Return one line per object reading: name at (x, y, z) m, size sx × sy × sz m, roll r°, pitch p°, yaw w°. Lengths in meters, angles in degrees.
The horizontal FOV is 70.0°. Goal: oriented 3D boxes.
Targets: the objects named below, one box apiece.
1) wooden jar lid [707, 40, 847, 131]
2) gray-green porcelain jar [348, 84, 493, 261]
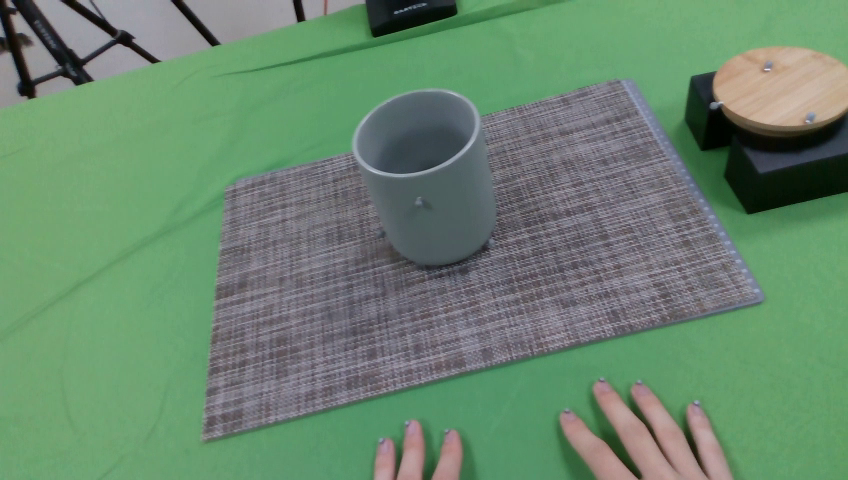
wooden jar lid at (0.300, -0.131, 0.518) m, size 0.108 × 0.021 × 0.107 m, roll -7°, pitch 52°, yaw 10°
gray-green porcelain jar at (0.003, -0.052, 0.524) m, size 0.106 × 0.128 × 0.105 m, roll -7°, pitch 50°, yaw 9°
